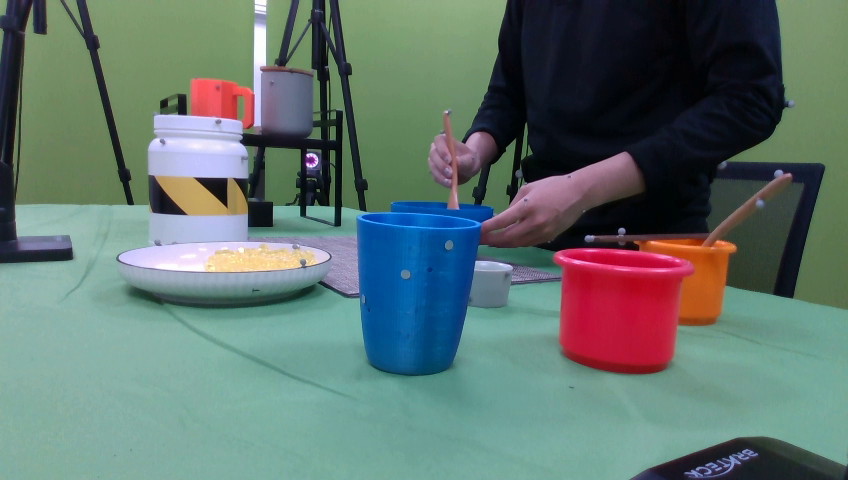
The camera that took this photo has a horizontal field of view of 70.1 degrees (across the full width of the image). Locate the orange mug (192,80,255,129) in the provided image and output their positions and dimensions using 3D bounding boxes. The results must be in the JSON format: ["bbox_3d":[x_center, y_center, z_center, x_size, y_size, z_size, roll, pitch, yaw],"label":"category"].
[{"bbox_3d":[-0.389,-0.257,1.172,0.126,0.100,0.083,0,6,9],"label":"orange mug"}]

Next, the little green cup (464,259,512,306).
[{"bbox_3d":[0.057,0.043,0.611,0.061,0.038,0.061,3,7,0],"label":"little green cup"}]

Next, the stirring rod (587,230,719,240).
[{"bbox_3d":[0.226,-0.005,0.587,0.177,0.006,0.014,-2,10,-29],"label":"stirring rod"}]

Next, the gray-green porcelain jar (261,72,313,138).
[{"bbox_3d":[-0.284,-0.276,1.253,0.106,0.126,0.106,2,8,0],"label":"gray-green porcelain jar"}]

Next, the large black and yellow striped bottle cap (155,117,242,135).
[{"bbox_3d":[-0.313,-0.159,0.845,0.115,0.019,0.115,3,9,0],"label":"large black and yellow striped bottle cap"}]

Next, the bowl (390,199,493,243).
[{"bbox_3d":[0.023,-0.016,0.874,0.151,0.077,0.151,3,7,0],"label":"bowl"}]

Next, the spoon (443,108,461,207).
[{"bbox_3d":[0.043,-0.098,0.887,0.022,0.193,0.041,0,-7,-25],"label":"spoon"}]

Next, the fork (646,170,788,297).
[{"bbox_3d":[0.256,0.004,0.543,0.028,0.018,0.207,3,-36,-9],"label":"fork"}]

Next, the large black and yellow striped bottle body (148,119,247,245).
[{"bbox_3d":[-0.318,-0.076,0.855,0.131,0.184,0.130,2,7,0],"label":"large black and yellow striped bottle body"}]

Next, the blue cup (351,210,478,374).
[{"bbox_3d":[-0.009,0.034,0.414,0.093,0.100,0.092,4,8,0],"label":"blue cup"}]

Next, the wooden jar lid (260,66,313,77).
[{"bbox_3d":[-0.283,-0.339,1.244,0.108,0.020,0.108,6,9,-1],"label":"wooden jar lid"}]

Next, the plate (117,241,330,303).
[{"bbox_3d":[-0.203,0.031,0.630,0.209,0.038,0.209,3,7,0],"label":"plate"}]
